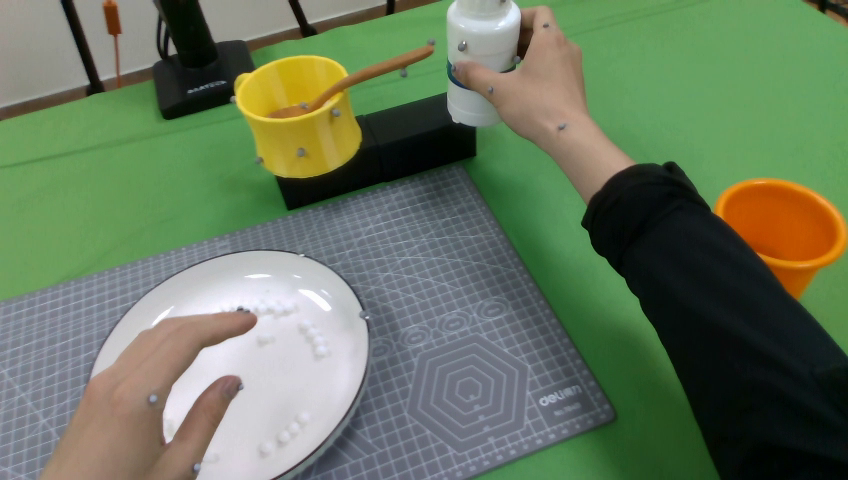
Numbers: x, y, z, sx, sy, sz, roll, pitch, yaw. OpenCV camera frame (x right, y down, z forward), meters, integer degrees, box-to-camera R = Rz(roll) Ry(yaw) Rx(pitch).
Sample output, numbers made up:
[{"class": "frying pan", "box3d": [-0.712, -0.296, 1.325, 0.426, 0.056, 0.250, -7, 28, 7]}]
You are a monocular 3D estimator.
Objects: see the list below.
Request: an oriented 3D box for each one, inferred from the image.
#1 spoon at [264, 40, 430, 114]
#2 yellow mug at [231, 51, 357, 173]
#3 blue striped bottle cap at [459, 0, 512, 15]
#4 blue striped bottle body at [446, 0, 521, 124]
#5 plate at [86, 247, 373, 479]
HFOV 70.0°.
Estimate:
[{"class": "spoon", "box3d": [-0.075, -0.132, 0.521, 0.193, 0.022, 0.041, -17, 38, 36]}, {"class": "yellow mug", "box3d": [-0.130, -0.123, 0.563, 0.130, 0.064, 0.099, 21, 55, 24]}, {"class": "blue striped bottle cap", "box3d": [0.050, -0.202, 0.491, 0.044, 0.021, 0.044, -3, 50, 4]}, {"class": "blue striped bottle body", "box3d": [0.051, -0.168, 0.530, 0.063, 0.122, 0.062, -1, 50, 2]}, {"class": "plate", "box3d": [-0.139, 0.095, 0.458, 0.207, 0.039, 0.205, -2, 49, 3]}]
